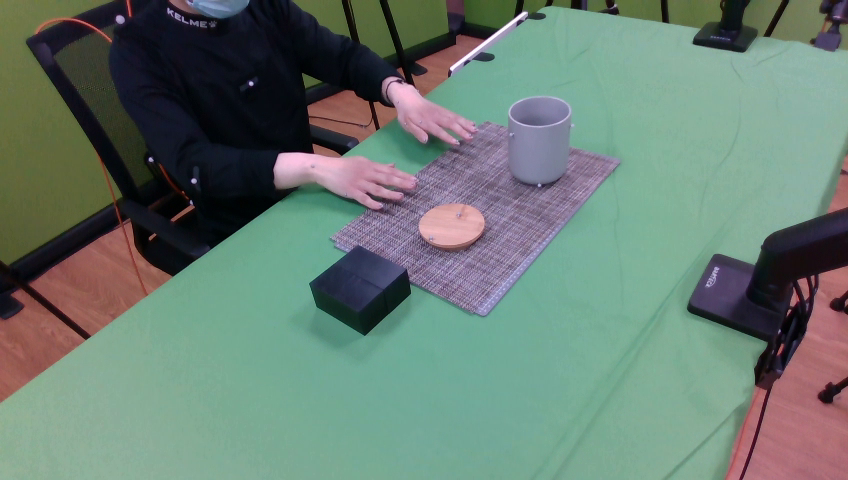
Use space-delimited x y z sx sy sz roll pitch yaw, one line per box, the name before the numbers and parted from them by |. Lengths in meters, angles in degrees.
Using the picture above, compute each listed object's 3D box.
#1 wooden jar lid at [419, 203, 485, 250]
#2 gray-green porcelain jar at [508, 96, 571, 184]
wooden jar lid | 0.046 -0.021 0.983 0.108 0.021 0.108 -4 41 4
gray-green porcelain jar | 0.199 -0.169 1.051 0.106 0.127 0.105 -4 41 4
